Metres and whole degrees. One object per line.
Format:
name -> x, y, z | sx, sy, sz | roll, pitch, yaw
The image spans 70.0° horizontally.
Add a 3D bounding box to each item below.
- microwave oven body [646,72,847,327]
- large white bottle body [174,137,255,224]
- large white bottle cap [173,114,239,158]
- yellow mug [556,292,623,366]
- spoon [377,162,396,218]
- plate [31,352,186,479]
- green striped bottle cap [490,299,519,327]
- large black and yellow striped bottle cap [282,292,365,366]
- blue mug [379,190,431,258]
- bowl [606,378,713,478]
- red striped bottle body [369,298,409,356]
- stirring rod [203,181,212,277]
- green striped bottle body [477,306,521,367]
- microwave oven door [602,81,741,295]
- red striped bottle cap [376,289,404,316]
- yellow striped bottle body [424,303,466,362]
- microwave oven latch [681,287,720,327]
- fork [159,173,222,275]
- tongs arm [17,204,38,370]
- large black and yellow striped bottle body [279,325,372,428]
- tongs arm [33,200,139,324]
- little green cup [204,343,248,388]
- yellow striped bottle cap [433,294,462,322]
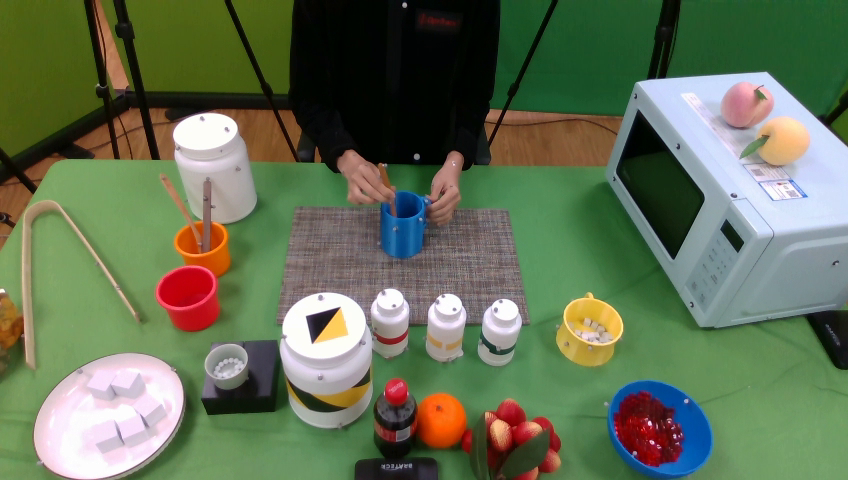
microwave oven body -> 0.607, -0.089, 1.164 | 0.326, 0.261, 0.438 | -7, 46, -10
large white bottle body -> -0.408, -0.136, 1.183 | 0.131, 0.185, 0.130 | 2, 46, -2
large white bottle cap -> -0.403, -0.195, 1.122 | 0.115, 0.018, 0.114 | 2, 47, -2
yellow mug -> 0.285, 0.145, 1.051 | 0.100, 0.064, 0.130 | 7, 45, 3
spoon -> -0.062, -0.064, 1.104 | 0.041, 0.195, 0.021 | 21, 48, 32
plate -> -0.459, 0.262, 0.898 | 0.209, 0.038, 0.208 | 2, 46, -2
green striped bottle cap -> 0.127, 0.115, 0.958 | 0.044, 0.020, 0.044 | 3, 48, -3
large black and yellow striped bottle cap -> -0.139, 0.121, 0.841 | 0.115, 0.019, 0.114 | 3, 47, -3
blue mug -> -0.032, -0.036, 1.169 | 0.116, 0.106, 0.082 | -29, 54, -28
bowl -> 0.340, 0.292, 0.906 | 0.151, 0.077, 0.150 | 2, 46, -2
red striped bottle body -> -0.058, 0.134, 0.997 | 0.063, 0.120, 0.062 | 4, 47, -4
stirring rod -> -0.396, -0.021, 1.108 | 0.014, 0.006, 0.176 | -1, 89, -1
green striped bottle body -> 0.124, 0.151, 0.995 | 0.063, 0.120, 0.063 | 2, 46, -2
microwave oven door -> 0.456, -0.107, 1.162 | 0.039, 0.245, 0.353 | -6, 47, -11
red striped bottle cap -> -0.055, 0.098, 0.958 | 0.044, 0.018, 0.044 | 0, 48, 0
yellow striped bottle body -> 0.035, 0.143, 0.995 | 0.063, 0.121, 0.062 | 3, 46, -3
microwave oven latch -> 0.494, 0.119, 1.087 | 0.030, 0.029, 0.078 | -6, 46, -9
fork -> -0.427, -0.029, 1.103 | 0.028, 0.018, 0.207 | -31, 99, -30
tongs arm -> -0.698, 0.069, 1.068 | 0.028, 0.028, 0.385 | -20, 50, -13
large black and yellow striped bottle body -> -0.143, 0.181, 0.900 | 0.131, 0.185, 0.130 | 2, 46, -2
tongs arm -> -0.622, 0.034, 1.105 | 0.051, 0.026, 0.382 | -32, 55, -26
little green cup -> -0.294, 0.190, 0.909 | 0.061, 0.039, 0.061 | 1, 48, -1
yellow striped bottle cap -> 0.037, 0.107, 0.958 | 0.044, 0.019, 0.044 | 2, 45, -2
